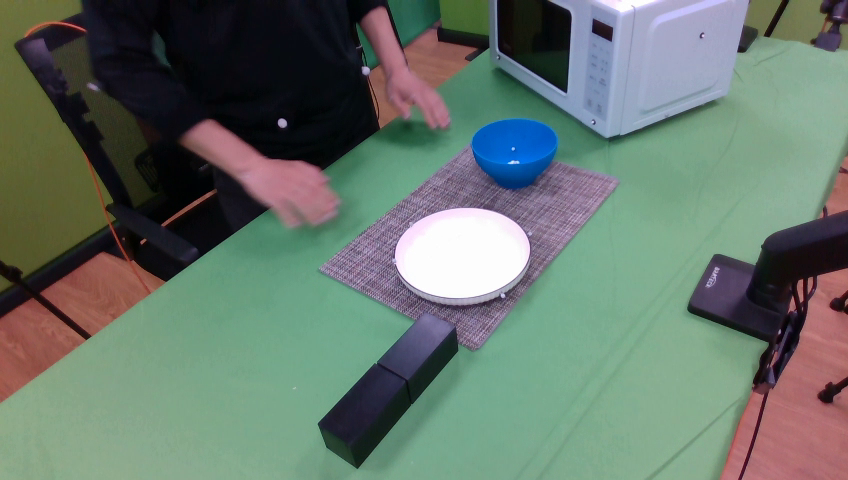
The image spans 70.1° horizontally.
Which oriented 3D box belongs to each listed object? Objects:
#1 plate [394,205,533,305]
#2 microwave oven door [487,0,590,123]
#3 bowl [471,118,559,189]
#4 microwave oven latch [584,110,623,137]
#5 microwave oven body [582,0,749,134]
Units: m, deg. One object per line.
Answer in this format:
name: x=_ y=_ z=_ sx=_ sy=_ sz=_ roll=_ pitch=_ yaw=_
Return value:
plate: x=0.059 y=0.025 z=0.915 sx=0.207 sy=0.039 sz=0.206 roll=-4 pitch=41 yaw=4
microwave oven door: x=0.232 y=-0.420 z=1.231 sx=0.039 sy=0.245 sz=0.352 roll=-22 pitch=43 yaw=-16
bowl: x=0.160 y=-0.144 z=1.066 sx=0.151 sy=0.077 sz=0.150 roll=-4 pitch=41 yaw=4
microwave oven latch: x=0.337 y=-0.222 z=1.142 sx=0.030 sy=0.029 sz=0.078 roll=-21 pitch=42 yaw=-14
microwave oven body: x=0.382 y=-0.445 z=1.246 sx=0.327 sy=0.261 sz=0.437 roll=-22 pitch=42 yaw=-16
